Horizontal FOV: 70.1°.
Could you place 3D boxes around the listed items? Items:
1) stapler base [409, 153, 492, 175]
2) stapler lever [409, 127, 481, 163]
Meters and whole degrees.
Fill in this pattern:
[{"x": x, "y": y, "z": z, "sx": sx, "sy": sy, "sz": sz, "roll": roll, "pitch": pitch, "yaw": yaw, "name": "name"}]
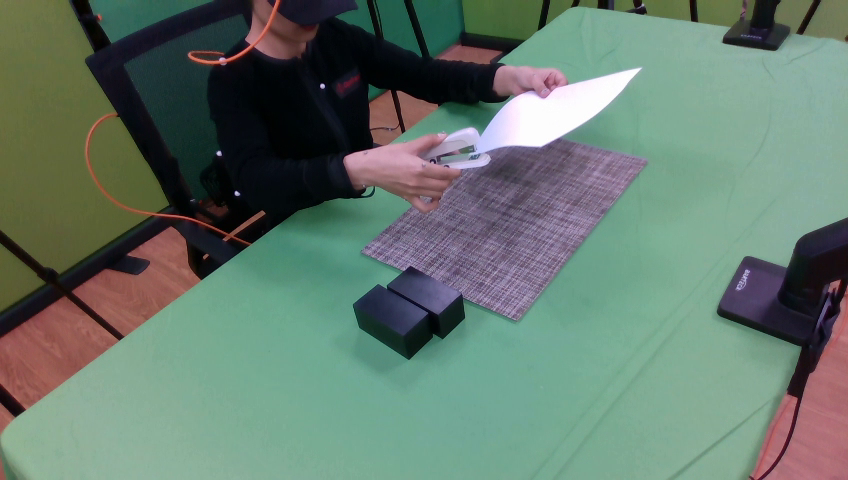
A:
[{"x": 0.038, "y": -0.125, "z": 0.940, "sx": 0.130, "sy": 0.024, "sz": 0.041, "roll": -6, "pitch": 21, "yaw": 22, "name": "stapler base"}, {"x": 0.031, "y": -0.147, "z": 0.931, "sx": 0.117, "sy": 0.040, "sz": 0.027, "roll": -5, "pitch": 22, "yaw": 22, "name": "stapler lever"}]
